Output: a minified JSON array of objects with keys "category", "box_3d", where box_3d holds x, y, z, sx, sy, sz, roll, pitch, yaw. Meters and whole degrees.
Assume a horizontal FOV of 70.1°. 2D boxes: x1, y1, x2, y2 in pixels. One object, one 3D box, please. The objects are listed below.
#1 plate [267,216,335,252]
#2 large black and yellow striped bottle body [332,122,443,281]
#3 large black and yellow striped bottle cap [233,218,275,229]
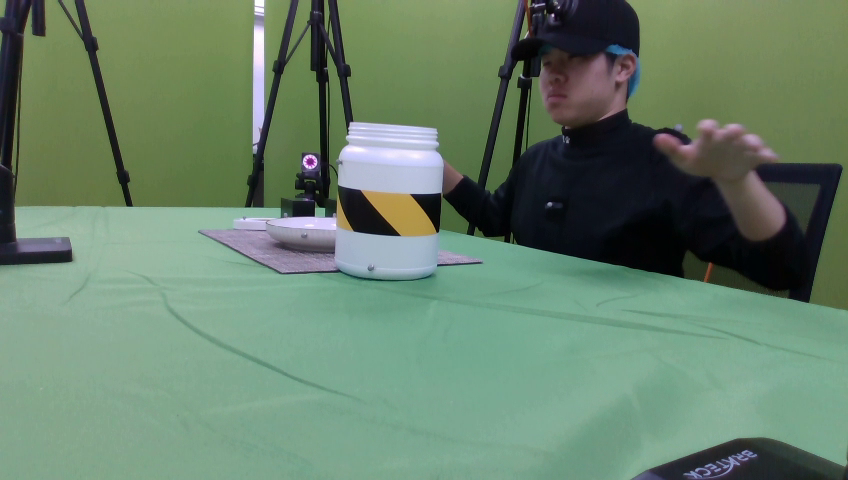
[{"category":"plate","box_3d":[-0.144,-0.010,0.967,0.208,0.039,0.207,2,7,0]},{"category":"large black and yellow striped bottle body","box_3d":[-0.045,-0.051,0.755,0.131,0.184,0.130,4,10,0]},{"category":"large black and yellow striped bottle cap","box_3d":[-0.311,-0.032,1.172,0.115,0.019,0.115,1,4,0]}]
